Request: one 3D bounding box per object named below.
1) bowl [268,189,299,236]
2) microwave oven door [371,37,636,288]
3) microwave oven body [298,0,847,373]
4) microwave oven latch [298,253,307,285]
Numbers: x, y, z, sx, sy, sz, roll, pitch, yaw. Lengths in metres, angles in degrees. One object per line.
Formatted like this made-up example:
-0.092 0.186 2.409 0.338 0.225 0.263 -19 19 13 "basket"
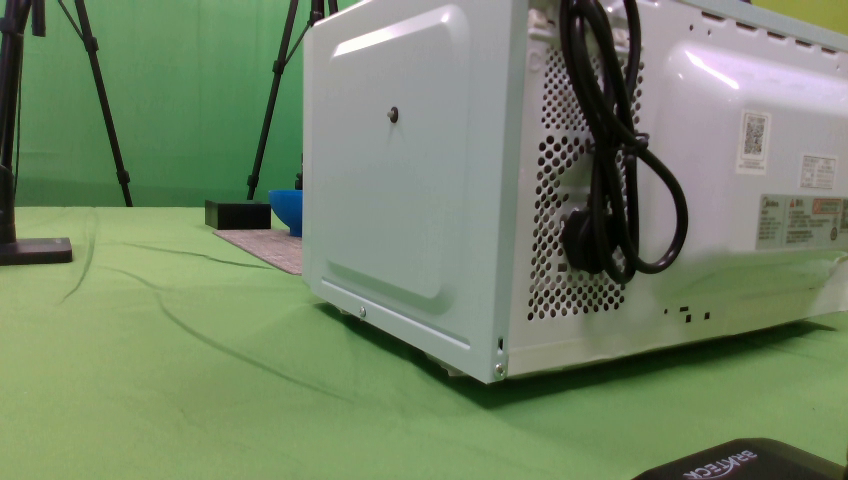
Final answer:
-0.205 -0.049 1.090 0.151 0.077 0.151 3 7 0 "bowl"
0.109 -0.080 0.686 0.358 0.243 0.039 -2 9 -33 "microwave oven door"
0.151 -0.055 0.543 0.444 0.260 0.324 -1 7 -33 "microwave oven body"
-0.082 0.027 0.583 0.079 0.029 0.030 -2 8 -33 "microwave oven latch"
